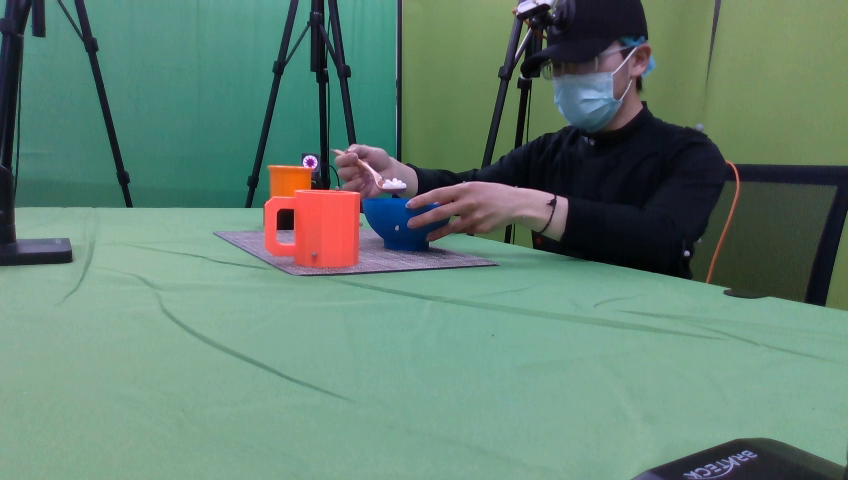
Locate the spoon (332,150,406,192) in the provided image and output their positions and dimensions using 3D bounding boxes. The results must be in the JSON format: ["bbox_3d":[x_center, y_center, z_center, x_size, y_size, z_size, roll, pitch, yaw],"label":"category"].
[{"bbox_3d":[-0.095,-0.117,0.993,0.042,0.021,0.192,14,16,-46],"label":"spoon"}]

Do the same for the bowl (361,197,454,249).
[{"bbox_3d":[-0.028,-0.028,0.984,0.151,0.077,0.151,2,7,0],"label":"bowl"}]

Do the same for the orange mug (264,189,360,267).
[{"bbox_3d":[-0.147,-0.019,0.794,0.127,0.100,0.083,5,6,-19],"label":"orange mug"}]
